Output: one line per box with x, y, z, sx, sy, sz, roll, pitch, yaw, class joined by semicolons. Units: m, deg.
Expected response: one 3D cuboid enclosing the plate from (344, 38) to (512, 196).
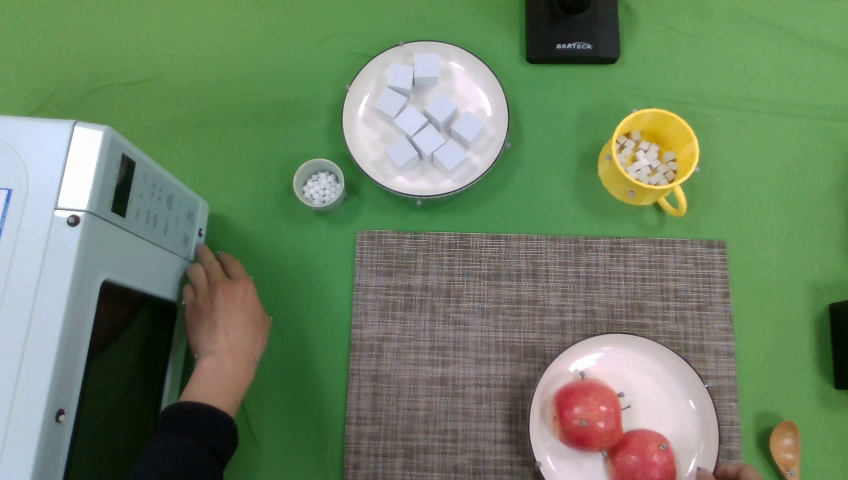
0.005;-0.152;0.760;0.208;0.039;0.206;0;78;1;plate

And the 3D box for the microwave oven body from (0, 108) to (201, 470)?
-0.443;0.118;0.593;0.326;0.261;0.440;5;79;2;microwave oven body

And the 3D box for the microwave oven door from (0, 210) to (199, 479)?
-0.302;0.171;0.574;0.039;0.245;0.354;4;78;2;microwave oven door

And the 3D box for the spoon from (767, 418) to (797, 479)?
0.407;0.295;0.664;0.042;0.021;0.193;-1;77;-20;spoon

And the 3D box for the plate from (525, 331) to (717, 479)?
0.214;0.206;0.675;0.209;0.038;0.208;0;78;1;plate

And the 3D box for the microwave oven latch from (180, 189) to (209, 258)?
-0.277;-0.020;0.718;0.030;0.029;0.079;7;79;2;microwave oven latch

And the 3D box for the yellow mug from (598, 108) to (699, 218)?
0.274;-0.085;0.726;0.100;0.064;0.130;-26;79;-5;yellow mug

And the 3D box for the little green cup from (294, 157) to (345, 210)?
-0.126;-0.067;0.742;0.061;0.039;0.061;0;78;0;little green cup

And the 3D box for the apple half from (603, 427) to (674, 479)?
0.237;0.245;0.660;0.081;0.033;0.081;0;74;2;apple half

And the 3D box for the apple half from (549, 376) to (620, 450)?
0.178;0.190;0.664;0.074;0.053;0.080;-1;78;4;apple half
